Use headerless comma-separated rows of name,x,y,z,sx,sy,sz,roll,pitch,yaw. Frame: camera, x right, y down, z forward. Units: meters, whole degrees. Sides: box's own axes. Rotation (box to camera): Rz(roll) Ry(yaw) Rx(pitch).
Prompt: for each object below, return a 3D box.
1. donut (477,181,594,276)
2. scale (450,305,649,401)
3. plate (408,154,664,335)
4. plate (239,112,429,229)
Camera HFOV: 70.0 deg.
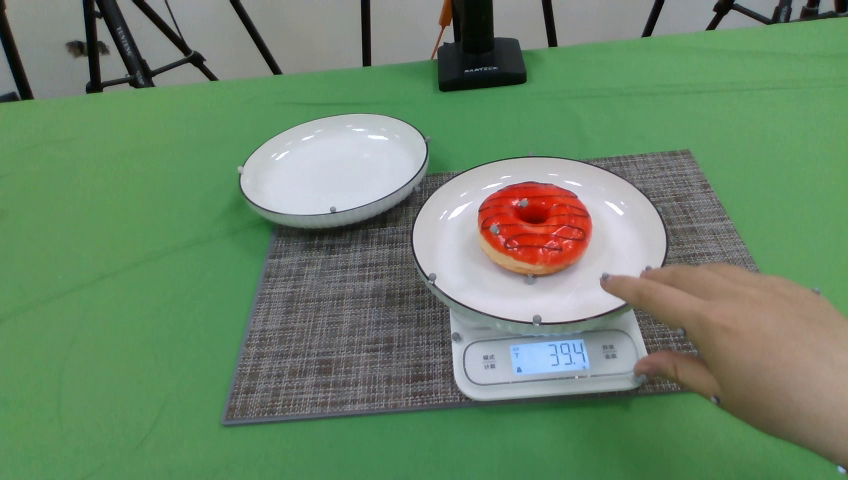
donut,0.092,-0.010,0.509,0.099,0.049,0.098,-2,44,2
scale,0.095,0.042,0.518,0.148,0.032,0.199,-5,43,4
plate,0.091,0.002,0.513,0.207,0.039,0.205,-4,43,4
plate,-0.097,-0.076,0.674,0.209,0.038,0.207,-5,40,5
